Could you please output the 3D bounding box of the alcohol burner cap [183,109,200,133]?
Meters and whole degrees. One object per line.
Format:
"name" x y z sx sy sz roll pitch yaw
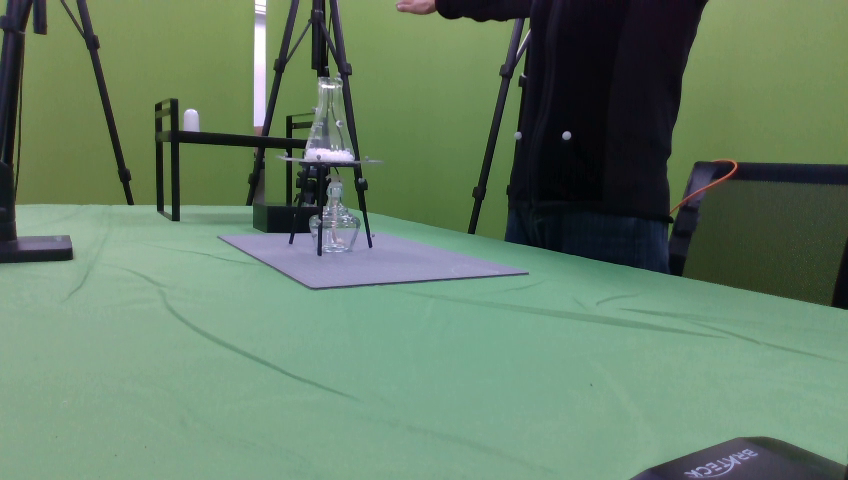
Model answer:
"alcohol burner cap" -0.472 -0.241 1.229 0.034 0.048 0.034 3 8 0

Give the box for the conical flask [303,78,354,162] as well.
"conical flask" -0.140 -0.175 0.892 0.075 0.122 0.075 2 7 0

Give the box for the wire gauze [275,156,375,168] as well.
"wire gauze" -0.142 -0.116 0.899 0.122 0.011 0.124 -1 5 -36

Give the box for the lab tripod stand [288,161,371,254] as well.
"lab tripod stand" -0.148 -0.052 0.908 0.148 0.131 0.148 1 8 0

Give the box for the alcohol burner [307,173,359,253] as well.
"alcohol burner" -0.135 -0.041 0.901 0.078 0.119 0.078 1 6 0
